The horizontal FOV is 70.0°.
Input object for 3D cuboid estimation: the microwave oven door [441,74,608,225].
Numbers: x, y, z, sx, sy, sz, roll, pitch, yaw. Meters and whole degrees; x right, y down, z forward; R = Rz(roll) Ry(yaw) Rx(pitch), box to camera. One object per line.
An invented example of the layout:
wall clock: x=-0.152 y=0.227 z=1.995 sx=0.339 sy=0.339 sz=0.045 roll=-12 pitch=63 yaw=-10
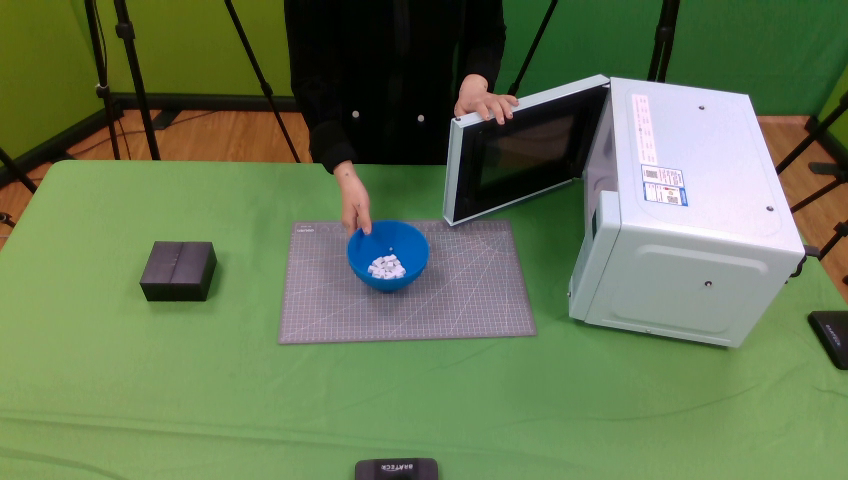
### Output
microwave oven door: x=0.201 y=-0.183 z=1.213 sx=0.356 sy=0.245 sz=0.039 roll=-21 pitch=51 yaw=-22

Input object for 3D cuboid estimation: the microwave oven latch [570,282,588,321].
microwave oven latch: x=0.276 y=0.105 z=1.082 sx=0.030 sy=0.029 sz=0.079 roll=10 pitch=45 yaw=6

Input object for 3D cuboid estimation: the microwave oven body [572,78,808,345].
microwave oven body: x=0.455 y=-0.063 z=1.125 sx=0.326 sy=0.261 sz=0.439 roll=8 pitch=45 yaw=5

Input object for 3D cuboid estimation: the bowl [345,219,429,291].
bowl: x=-0.068 y=0.041 z=1.110 sx=0.151 sy=0.077 sz=0.150 roll=2 pitch=46 yaw=-2
